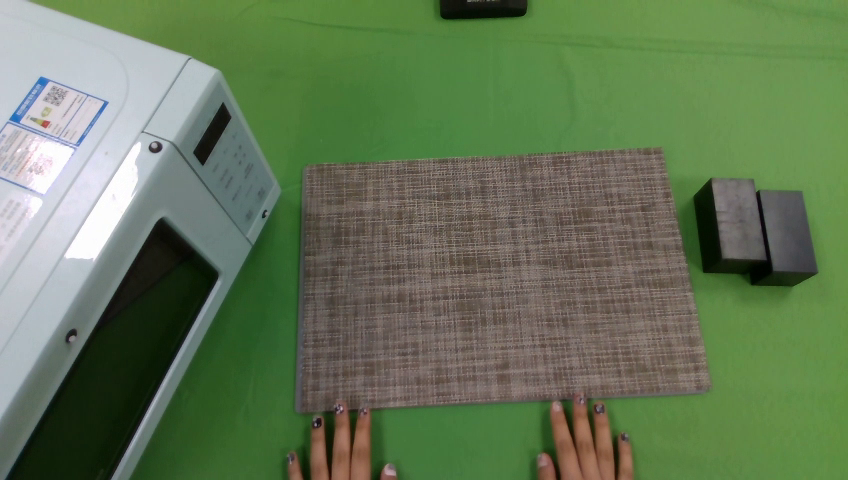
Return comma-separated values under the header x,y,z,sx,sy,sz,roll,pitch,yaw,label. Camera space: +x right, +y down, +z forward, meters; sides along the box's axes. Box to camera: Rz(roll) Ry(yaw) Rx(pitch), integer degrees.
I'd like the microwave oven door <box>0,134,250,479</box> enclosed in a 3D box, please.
x,y,z,sx,sy,sz,roll,pitch,yaw,label
-0.282,0.110,0.538,0.039,0.245,0.354,20,71,8,microwave oven door

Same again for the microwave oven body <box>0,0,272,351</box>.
x,y,z,sx,sy,sz,roll,pitch,yaw,label
-0.403,0.025,0.574,0.325,0.261,0.439,21,72,6,microwave oven body

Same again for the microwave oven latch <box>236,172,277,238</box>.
x,y,z,sx,sy,sz,roll,pitch,yaw,label
-0.199,-0.044,0.704,0.030,0.029,0.079,21,72,6,microwave oven latch

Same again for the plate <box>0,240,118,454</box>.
x,y,z,sx,sy,sz,roll,pitch,yaw,label
-0.391,0.101,0.589,0.209,0.038,0.207,-3,68,8,plate

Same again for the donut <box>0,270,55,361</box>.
x,y,z,sx,sy,sz,roll,pitch,yaw,label
-0.422,0.075,0.605,0.099,0.048,0.098,2,54,-3,donut
